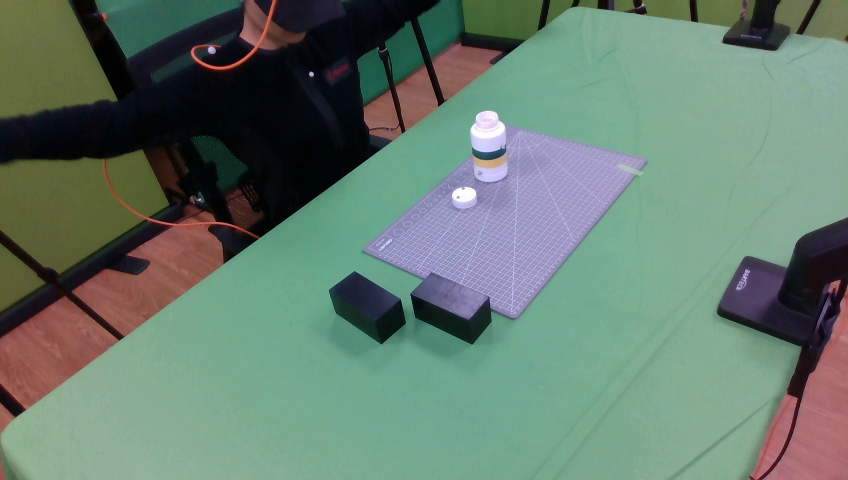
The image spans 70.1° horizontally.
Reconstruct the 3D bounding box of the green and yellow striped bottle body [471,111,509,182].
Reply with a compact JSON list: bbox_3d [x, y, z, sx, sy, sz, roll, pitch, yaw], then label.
[{"bbox_3d":[0.117,-0.169,1.079,0.063,0.120,0.063,-6,40,5],"label":"green and yellow striped bottle body"}]

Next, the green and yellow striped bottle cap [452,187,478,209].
[{"bbox_3d":[0.072,-0.074,1.057,0.045,0.020,0.045,-7,39,6],"label":"green and yellow striped bottle cap"}]
